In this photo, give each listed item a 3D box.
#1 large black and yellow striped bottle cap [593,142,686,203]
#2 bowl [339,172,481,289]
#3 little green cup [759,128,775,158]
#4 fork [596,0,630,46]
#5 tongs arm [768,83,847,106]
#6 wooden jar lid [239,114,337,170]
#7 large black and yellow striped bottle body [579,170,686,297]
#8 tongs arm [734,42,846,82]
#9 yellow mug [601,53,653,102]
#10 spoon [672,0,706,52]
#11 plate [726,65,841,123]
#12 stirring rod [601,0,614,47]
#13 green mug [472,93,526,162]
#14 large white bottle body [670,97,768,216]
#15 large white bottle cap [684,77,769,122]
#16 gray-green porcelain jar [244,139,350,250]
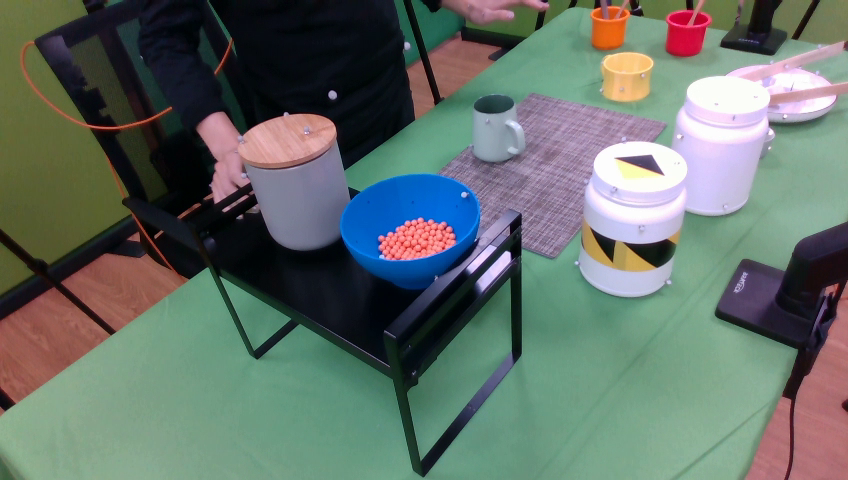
[{"bbox_3d":[0.280,-0.090,0.786,0.115,0.019,0.114,-5,41,5],"label":"large black and yellow striped bottle cap"},{"bbox_3d":[-0.011,0.001,0.660,0.151,0.077,0.150,-5,41,5],"label":"bowl"},{"bbox_3d":[0.588,-0.175,1.080,0.061,0.039,0.061,-5,40,5],"label":"little green cup"},{"bbox_3d":[0.481,-0.556,1.452,0.028,0.019,0.207,40,103,38],"label":"fork"},{"bbox_3d":[0.734,-0.280,1.133,0.388,0.028,0.028,-9,47,-5],"label":"tongs arm"},{"bbox_3d":[-0.149,-0.106,0.673,0.108,0.021,0.108,-6,39,5],"label":"wooden jar lid"},{"bbox_3d":[0.287,-0.027,0.841,0.131,0.185,0.130,-4,40,4],"label":"large black and yellow striped bottle body"},{"bbox_3d":[0.708,-0.331,1.193,0.386,0.026,0.050,-18,45,-15],"label":"tongs arm"},{"bbox_3d":[0.423,-0.354,1.292,0.100,0.064,0.129,-23,42,-16],"label":"yellow mug"},{"bbox_3d":[0.629,-0.520,1.394,0.041,0.022,0.193,29,96,34],"label":"spoon"},{"bbox_3d":[0.694,-0.282,1.189,0.207,0.039,0.206,-4,40,4],"label":"plate"},{"bbox_3d":[0.439,-0.552,1.463,0.014,0.006,0.175,-7,83,3],"label":"stirring rod"},{"bbox_3d":[0.144,-0.202,1.122,0.093,0.105,0.124,-29,45,-23],"label":"green mug"},{"bbox_3d":[0.458,-0.146,0.952,0.130,0.185,0.130,-4,40,4],"label":"large white bottle body"},{"bbox_3d":[0.448,-0.209,0.898,0.115,0.018,0.114,-4,40,4],"label":"large white bottle cap"},{"bbox_3d":[-0.143,-0.060,0.714,0.106,0.127,0.105,-4,41,4],"label":"gray-green porcelain jar"}]
